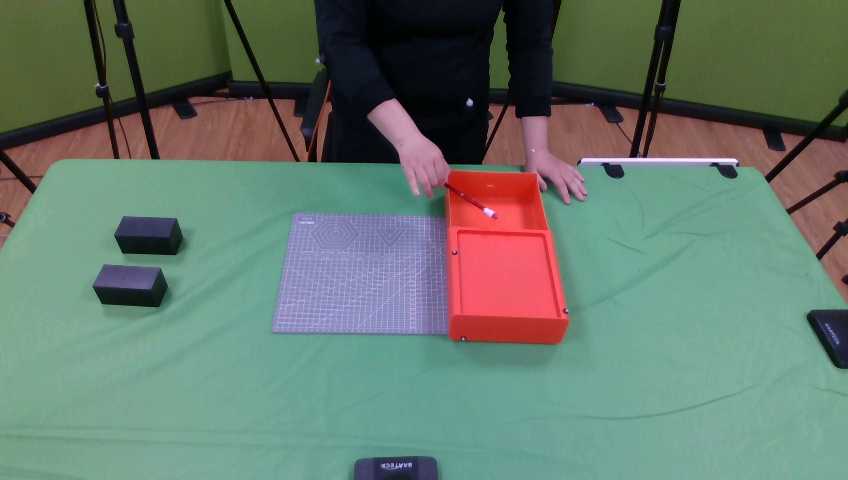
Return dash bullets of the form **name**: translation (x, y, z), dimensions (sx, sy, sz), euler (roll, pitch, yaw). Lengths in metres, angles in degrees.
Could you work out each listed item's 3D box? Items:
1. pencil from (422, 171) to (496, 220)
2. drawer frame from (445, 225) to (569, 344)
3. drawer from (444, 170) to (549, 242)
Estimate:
- **pencil**: translation (0.063, -0.089, 1.163), dimensions (0.193, 0.012, 0.012), euler (36, 53, 29)
- **drawer frame**: translation (0.141, 0.076, 1.089), dimensions (0.202, 0.083, 0.212), euler (2, 47, -3)
- **drawer**: translation (0.140, -0.049, 1.217), dimensions (0.194, 0.073, 0.210), euler (2, 43, -3)
